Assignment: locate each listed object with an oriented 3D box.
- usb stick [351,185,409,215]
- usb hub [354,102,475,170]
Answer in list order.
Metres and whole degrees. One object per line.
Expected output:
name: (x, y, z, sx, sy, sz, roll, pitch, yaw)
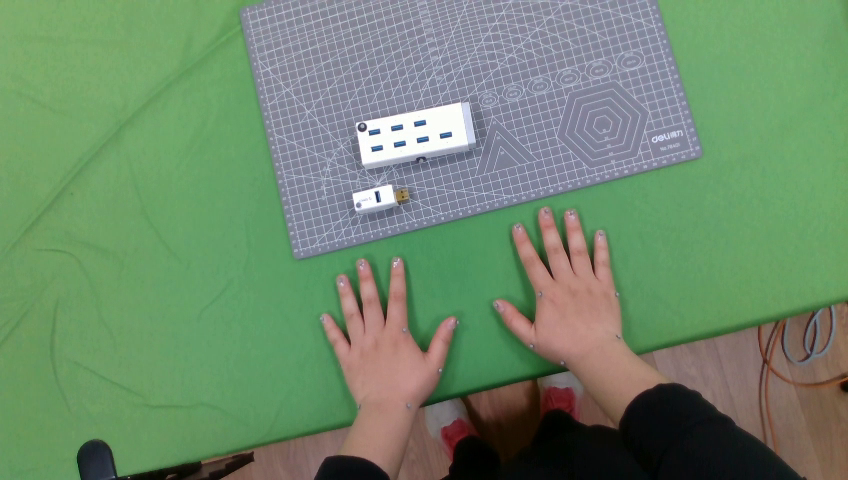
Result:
usb stick: (-0.046, -0.045, 0.650, 0.059, 0.027, 0.021, -12, 84, 2)
usb hub: (-0.011, -0.113, 0.654, 0.125, 0.025, 0.049, -10, 83, 4)
